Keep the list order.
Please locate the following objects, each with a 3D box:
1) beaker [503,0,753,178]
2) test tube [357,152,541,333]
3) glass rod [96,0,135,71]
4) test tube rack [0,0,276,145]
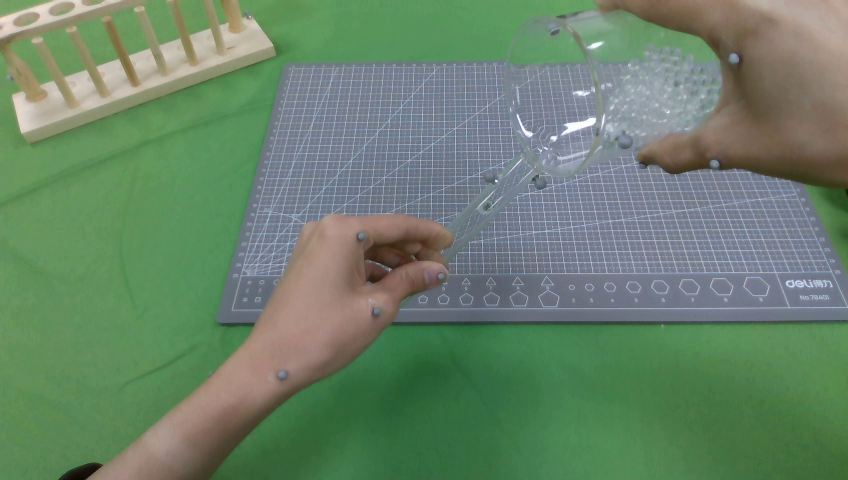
[{"bbox_3d":[0.100,-0.078,0.300,0.100,0.084,0.073,-19,57,-19],"label":"beaker"},{"bbox_3d":[0.009,0.006,0.347,0.017,0.150,0.017,34,27,-20],"label":"test tube"},{"bbox_3d":[-0.287,-0.224,0.520,0.008,0.201,0.008,1,54,-1],"label":"glass rod"},{"bbox_3d":[-0.274,-0.183,0.572,0.242,0.086,0.066,-26,55,-17],"label":"test tube rack"}]
